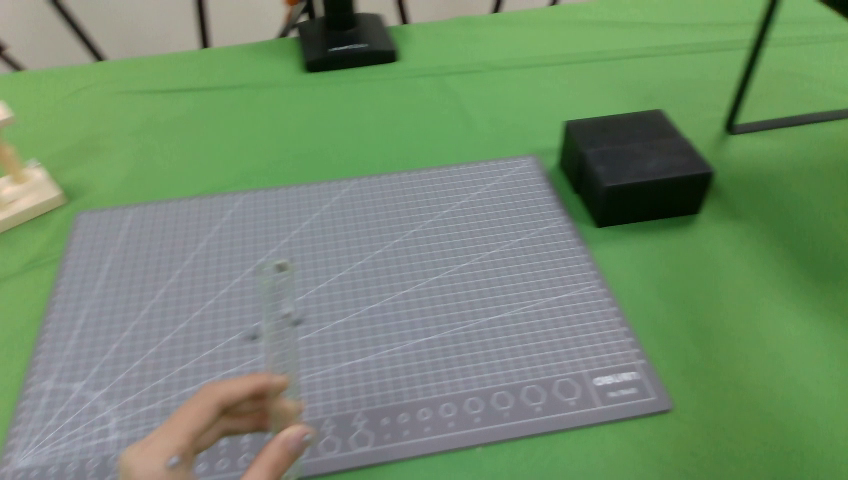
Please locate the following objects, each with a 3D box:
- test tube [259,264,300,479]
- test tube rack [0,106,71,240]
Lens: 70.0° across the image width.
[{"bbox_3d":[-0.070,0.075,0.298,0.017,0.151,0.017,5,34,-3],"label":"test tube"},{"bbox_3d":[-0.451,-0.019,0.512,0.242,0.086,0.066,-33,53,-28],"label":"test tube rack"}]
